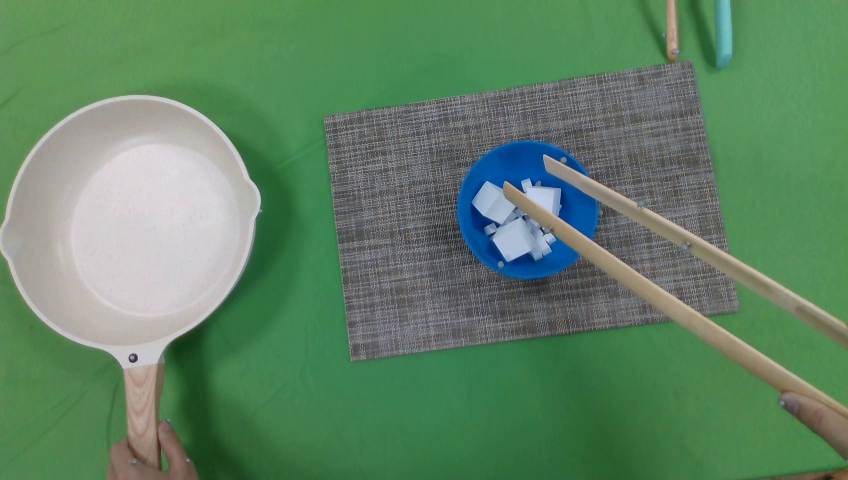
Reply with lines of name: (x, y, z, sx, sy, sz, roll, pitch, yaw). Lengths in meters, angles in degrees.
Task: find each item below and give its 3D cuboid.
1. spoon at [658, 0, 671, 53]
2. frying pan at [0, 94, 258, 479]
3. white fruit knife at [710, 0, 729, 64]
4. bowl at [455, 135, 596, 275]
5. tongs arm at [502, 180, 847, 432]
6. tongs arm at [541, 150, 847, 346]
spoon: (0.280, -0.317, 0.698, 0.041, 0.021, 0.194, 5, 105, 26)
frying pan: (-0.320, 0.078, 0.685, 0.307, 0.103, 0.485, -9, 75, 3)
white fruit knife: (0.336, -0.312, 0.699, 0.016, 0.027, 0.208, -7, 97, -2)
bowl: (0.110, -0.033, 0.679, 0.151, 0.077, 0.151, 0, 83, 3)
tongs arm: (0.201, 0.044, 0.487, 0.028, 0.028, 0.383, -37, 51, -19)
tongs arm: (0.227, 0.023, 0.495, 0.051, 0.027, 0.380, -40, 52, -17)
